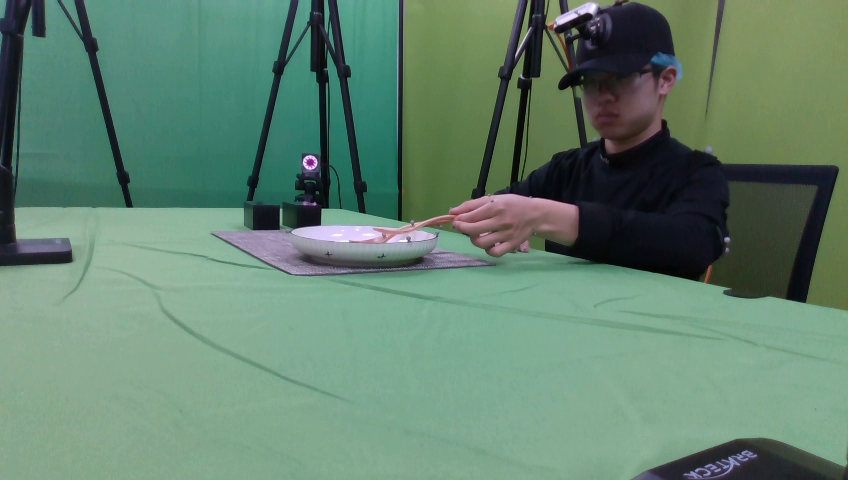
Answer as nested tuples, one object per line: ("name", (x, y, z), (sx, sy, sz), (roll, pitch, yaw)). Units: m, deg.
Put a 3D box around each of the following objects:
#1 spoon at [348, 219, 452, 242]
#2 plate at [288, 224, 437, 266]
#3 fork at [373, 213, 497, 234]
("spoon", (-0.030, -0.016, 0.924), (0.195, 0.021, 0.041), (-19, 18, -36))
("plate", (-0.086, 0.007, 0.852), (0.208, 0.039, 0.207), (2, 7, 0))
("fork", (0.021, -0.026, 0.889), (0.208, 0.018, 0.028), (-11, 2, -28))
